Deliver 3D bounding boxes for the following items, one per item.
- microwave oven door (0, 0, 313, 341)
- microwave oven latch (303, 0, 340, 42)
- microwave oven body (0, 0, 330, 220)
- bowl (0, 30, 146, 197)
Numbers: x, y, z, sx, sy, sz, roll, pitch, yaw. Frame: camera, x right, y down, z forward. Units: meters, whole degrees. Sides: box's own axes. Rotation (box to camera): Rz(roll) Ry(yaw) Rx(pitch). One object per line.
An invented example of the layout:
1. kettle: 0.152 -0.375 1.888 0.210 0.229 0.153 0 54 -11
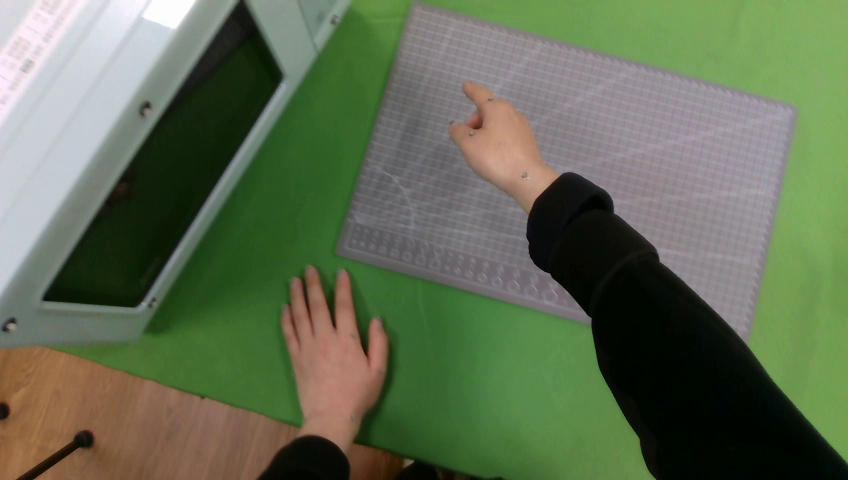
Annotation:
1. microwave oven door: -0.219 -0.078 0.518 0.039 0.244 0.355 29 83 3
2. microwave oven latch: -0.110 -0.253 0.644 0.030 0.029 0.079 31 84 2
3. microwave oven body: -0.324 -0.185 0.533 0.326 0.260 0.441 29 84 2
4. bowl: -0.319 -0.104 0.555 0.151 0.077 0.151 0 80 1
